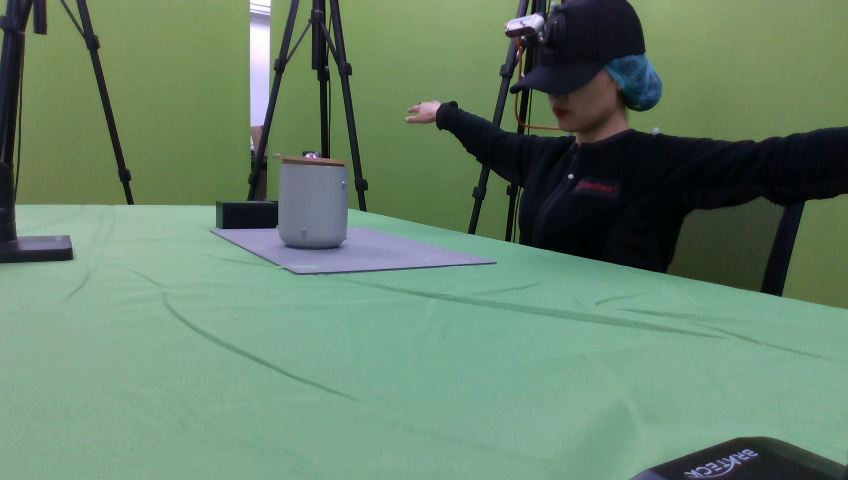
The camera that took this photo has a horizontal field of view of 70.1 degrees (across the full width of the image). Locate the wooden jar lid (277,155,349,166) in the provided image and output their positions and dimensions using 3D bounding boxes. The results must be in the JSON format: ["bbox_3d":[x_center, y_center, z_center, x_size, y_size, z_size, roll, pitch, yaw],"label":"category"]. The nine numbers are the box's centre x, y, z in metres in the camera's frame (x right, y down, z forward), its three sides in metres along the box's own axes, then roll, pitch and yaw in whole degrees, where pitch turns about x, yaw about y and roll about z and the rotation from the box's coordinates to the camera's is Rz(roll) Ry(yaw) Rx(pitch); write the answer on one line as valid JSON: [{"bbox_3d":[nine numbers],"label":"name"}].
[{"bbox_3d":[-0.170,-0.117,0.925,0.108,0.020,0.108,4,7,0],"label":"wooden jar lid"}]

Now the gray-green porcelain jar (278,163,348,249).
[{"bbox_3d":[-0.171,-0.053,0.934,0.106,0.126,0.106,2,7,0],"label":"gray-green porcelain jar"}]
